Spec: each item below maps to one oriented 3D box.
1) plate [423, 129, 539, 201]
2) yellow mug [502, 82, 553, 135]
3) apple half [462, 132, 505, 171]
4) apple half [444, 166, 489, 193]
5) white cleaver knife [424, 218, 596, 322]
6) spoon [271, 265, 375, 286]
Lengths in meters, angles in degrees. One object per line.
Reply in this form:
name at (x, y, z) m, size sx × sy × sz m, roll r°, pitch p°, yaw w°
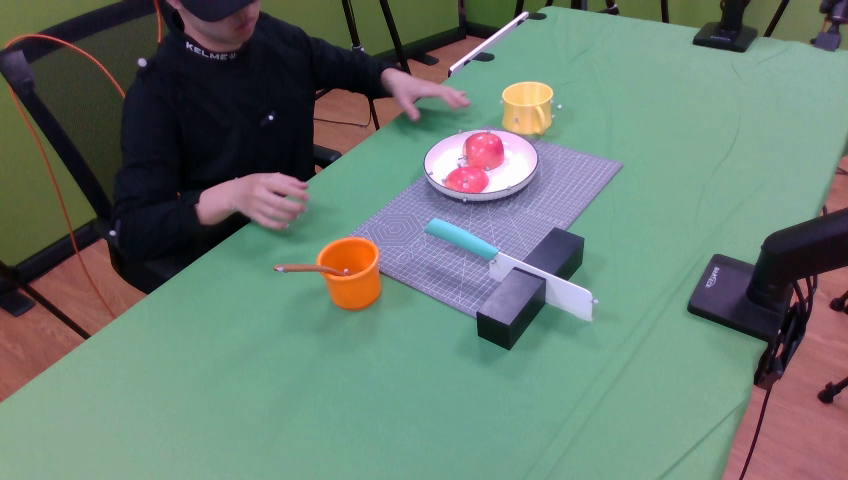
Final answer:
plate at (0.103, -0.132, 1.092) m, size 0.209 × 0.038 × 0.208 m, roll -4°, pitch 40°, yaw 4°
yellow mug at (0.212, -0.256, 1.203) m, size 0.100 × 0.064 × 0.130 m, roll -16°, pitch 42°, yaw -10°
apple half at (0.109, -0.169, 1.110) m, size 0.075 × 0.053 × 0.080 m, roll -6°, pitch 40°, yaw -2°
apple half at (0.074, -0.112, 1.062) m, size 0.081 × 0.033 × 0.081 m, roll -6°, pitch 39°, yaw 5°
white cleaver knife at (0.114, 0.042, 0.865) m, size 0.284 × 0.066 × 0.021 m, roll 27°, pitch 47°, yaw 28°
spoon at (-0.136, 0.046, 0.839) m, size 0.041 × 0.195 × 0.021 m, roll 24°, pitch 94°, yaw 35°
